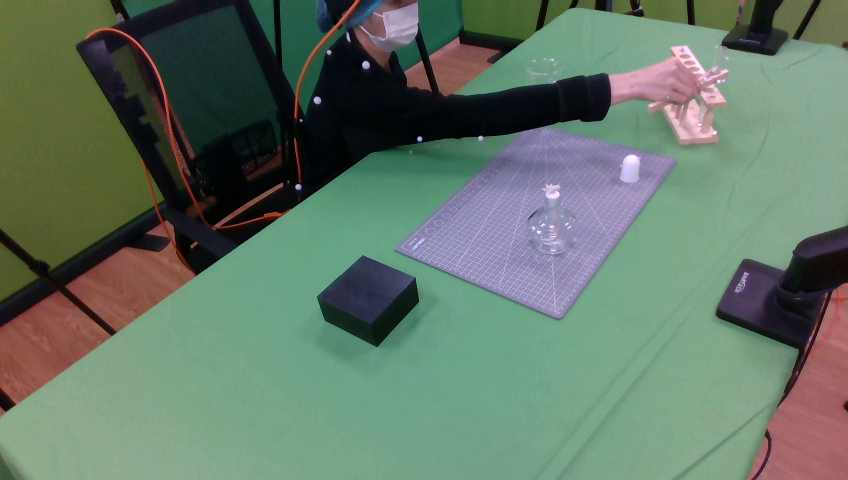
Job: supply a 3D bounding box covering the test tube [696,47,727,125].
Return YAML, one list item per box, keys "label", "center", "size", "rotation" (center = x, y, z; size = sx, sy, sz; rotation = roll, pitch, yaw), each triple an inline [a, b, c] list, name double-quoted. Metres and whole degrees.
- label: "test tube"
  center: [0.518, -0.275, 1.094]
  size: [0.017, 0.151, 0.017]
  rotation: [-2, 42, 2]

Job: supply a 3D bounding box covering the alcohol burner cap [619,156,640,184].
- label: "alcohol burner cap"
  center: [0.358, -0.124, 1.047]
  size: [0.034, 0.048, 0.033]
  rotation: [-4, 40, 4]

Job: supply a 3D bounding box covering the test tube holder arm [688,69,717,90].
- label: "test tube holder arm"
  center: [0.494, -0.280, 1.073]
  size: [0.088, 0.015, 0.010]
  rotation: [-37, 44, -27]

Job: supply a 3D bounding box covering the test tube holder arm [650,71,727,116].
- label: "test tube holder arm"
  center: [0.462, -0.256, 1.053]
  size: [0.179, 0.015, 0.013]
  rotation: [-28, 40, -18]

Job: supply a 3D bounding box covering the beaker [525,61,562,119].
- label: "beaker"
  center: [0.248, -0.308, 1.246]
  size: [0.073, 0.101, 0.084]
  rotation: [29, 52, 36]

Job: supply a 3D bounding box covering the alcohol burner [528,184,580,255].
- label: "alcohol burner"
  center: [0.196, -0.035, 0.911]
  size: [0.078, 0.119, 0.077]
  rotation: [-6, 41, 5]

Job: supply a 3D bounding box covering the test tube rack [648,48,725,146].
- label: "test tube rack"
  center: [0.508, -0.285, 1.186]
  size: [0.067, 0.085, 0.241]
  rotation: [-4, 40, 6]
